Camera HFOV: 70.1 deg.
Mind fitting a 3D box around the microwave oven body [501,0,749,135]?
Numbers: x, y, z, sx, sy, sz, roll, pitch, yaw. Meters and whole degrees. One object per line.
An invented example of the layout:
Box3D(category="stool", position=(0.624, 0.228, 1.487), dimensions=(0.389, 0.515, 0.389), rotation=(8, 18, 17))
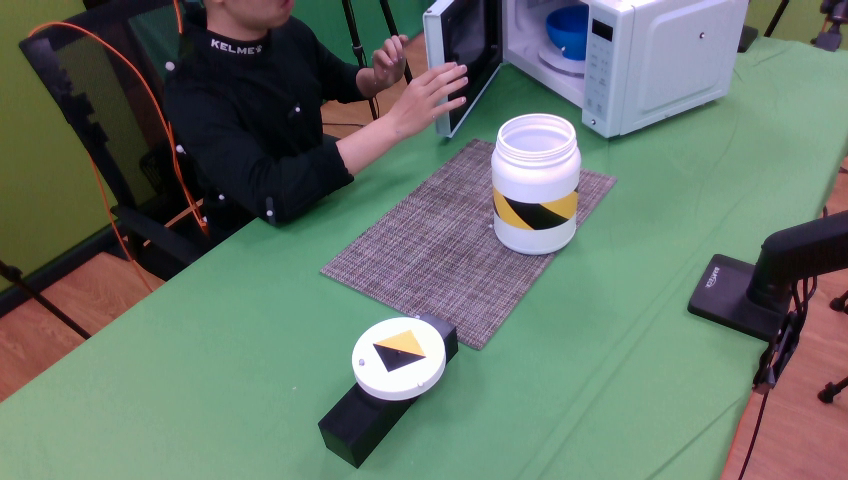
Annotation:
Box3D(category="microwave oven body", position=(0.382, -0.444, 1.246), dimensions=(0.327, 0.261, 0.437), rotation=(-22, 42, -16))

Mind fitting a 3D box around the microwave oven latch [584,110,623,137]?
Box3D(category="microwave oven latch", position=(0.337, -0.222, 1.142), dimensions=(0.030, 0.029, 0.078), rotation=(-21, 42, -14))

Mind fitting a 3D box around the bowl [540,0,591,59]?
Box3D(category="bowl", position=(0.328, -0.436, 1.279), dimensions=(0.151, 0.077, 0.150), rotation=(-13, 39, 12))

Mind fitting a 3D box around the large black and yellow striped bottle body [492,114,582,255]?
Box3D(category="large black and yellow striped bottle body", position=(0.169, -0.083, 0.912), dimensions=(0.131, 0.185, 0.130), rotation=(-4, 41, 4))

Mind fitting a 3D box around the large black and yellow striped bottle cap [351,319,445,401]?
Box3D(category="large black and yellow striped bottle cap", position=(-0.031, 0.143, 0.734), dimensions=(0.115, 0.019, 0.114), rotation=(-3, 40, 3))

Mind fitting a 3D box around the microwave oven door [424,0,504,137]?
Box3D(category="microwave oven door", position=(0.093, -0.407, 1.235), dimensions=(0.039, 0.245, 0.356), rotation=(11, 44, 20))
